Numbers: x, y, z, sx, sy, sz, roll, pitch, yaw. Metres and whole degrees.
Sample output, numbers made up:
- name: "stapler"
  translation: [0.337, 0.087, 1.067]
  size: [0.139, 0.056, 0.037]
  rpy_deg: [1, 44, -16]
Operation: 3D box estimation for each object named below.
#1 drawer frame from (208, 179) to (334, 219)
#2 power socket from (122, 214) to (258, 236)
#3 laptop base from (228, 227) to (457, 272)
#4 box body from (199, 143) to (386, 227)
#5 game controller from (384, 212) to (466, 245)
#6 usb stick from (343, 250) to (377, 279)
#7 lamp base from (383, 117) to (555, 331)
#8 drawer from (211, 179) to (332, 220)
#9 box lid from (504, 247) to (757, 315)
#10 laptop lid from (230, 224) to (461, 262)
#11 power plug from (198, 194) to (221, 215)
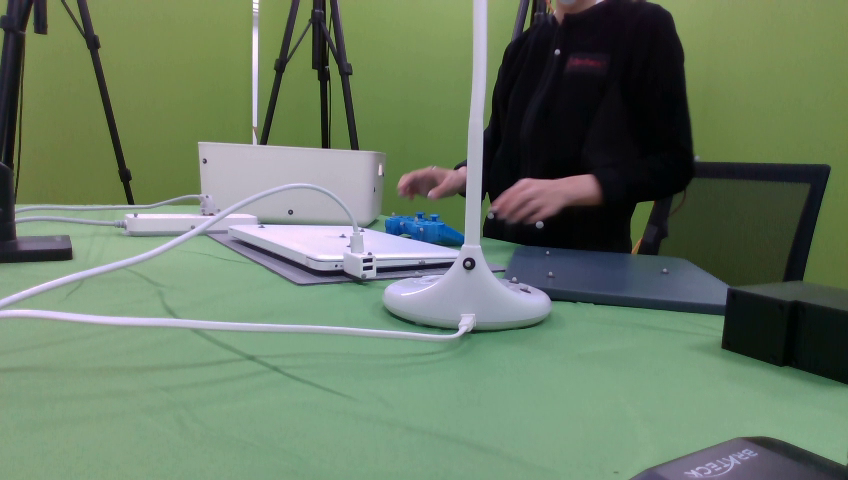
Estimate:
- name: "drawer frame"
  translation: [-0.326, -0.093, 1.328]
  size: [0.213, 0.082, 0.202]
  rpy_deg: [-1, 5, 6]
- name: "power socket"
  translation: [-0.398, -0.028, 1.049]
  size: [0.228, 0.032, 0.072]
  rpy_deg: [-3, 8, -34]
- name: "laptop base"
  translation: [-0.122, 0.011, 0.889]
  size: [0.237, 0.023, 0.352]
  rpy_deg: [2, 6, -35]
- name: "box body"
  translation: [-0.276, -0.124, 1.335]
  size: [0.364, 0.160, 0.254]
  rpy_deg: [3, 7, 1]
- name: "game controller"
  translation: [-0.003, -0.022, 1.074]
  size: [0.097, 0.051, 0.154]
  rpy_deg: [-5, 10, -31]
- name: "usb stick"
  translation: [-0.076, 0.026, 0.687]
  size: [0.021, 0.027, 0.059]
  rpy_deg: [-8, 8, -31]
- name: "lamp base"
  translation: [0.045, -0.019, 0.547]
  size: [0.161, 0.180, 0.179]
  rpy_deg: [2, 10, -4]
- name: "drawer"
  translation: [-0.328, -0.095, 1.331]
  size: [0.212, 0.073, 0.194]
  rpy_deg: [5, 8, 6]
- name: "box lid"
  translation: [0.244, 0.044, 0.793]
  size: [0.263, 0.015, 0.372]
  rpy_deg: [4, 7, 10]
- name: "laptop lid"
  translation: [-0.120, 0.000, 0.889]
  size: [0.243, 0.013, 0.355]
  rpy_deg: [1, 7, -33]
- name: "power plug"
  translation: [-0.387, -0.055, 1.089]
  size: [0.035, 0.052, 0.072]
  rpy_deg: [-1, 7, -22]
